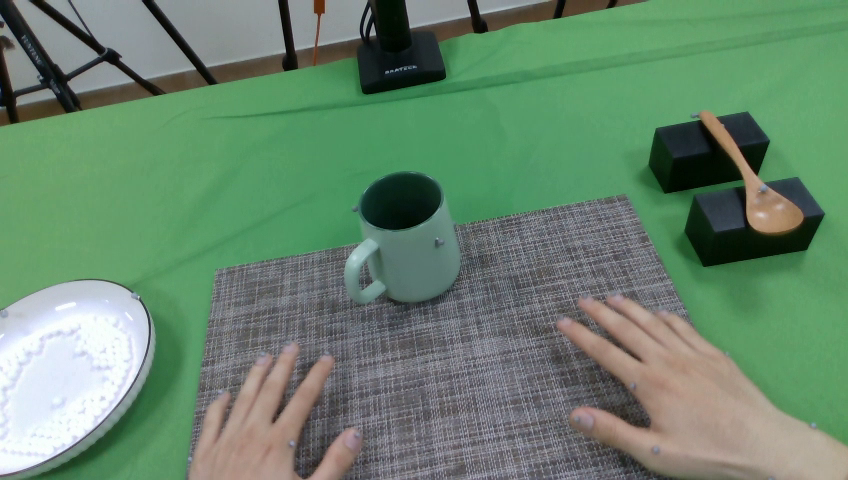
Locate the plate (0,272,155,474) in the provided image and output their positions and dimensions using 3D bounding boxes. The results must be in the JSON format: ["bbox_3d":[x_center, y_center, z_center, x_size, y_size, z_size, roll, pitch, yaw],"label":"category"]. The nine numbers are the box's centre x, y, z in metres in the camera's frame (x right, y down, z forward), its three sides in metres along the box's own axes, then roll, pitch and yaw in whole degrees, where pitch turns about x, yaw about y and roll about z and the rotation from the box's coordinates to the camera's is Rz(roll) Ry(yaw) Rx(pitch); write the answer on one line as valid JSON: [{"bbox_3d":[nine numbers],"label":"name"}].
[{"bbox_3d":[-0.353,0.121,0.572,0.209,0.038,0.207,-5,49,6],"label":"plate"}]

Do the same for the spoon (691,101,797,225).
[{"bbox_3d":[0.297,-0.081,0.578,0.041,0.022,0.191,-20,47,16],"label":"spoon"}]

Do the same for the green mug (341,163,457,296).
[{"bbox_3d":[-0.028,0.002,0.570,0.092,0.106,0.125,29,60,29],"label":"green mug"}]
